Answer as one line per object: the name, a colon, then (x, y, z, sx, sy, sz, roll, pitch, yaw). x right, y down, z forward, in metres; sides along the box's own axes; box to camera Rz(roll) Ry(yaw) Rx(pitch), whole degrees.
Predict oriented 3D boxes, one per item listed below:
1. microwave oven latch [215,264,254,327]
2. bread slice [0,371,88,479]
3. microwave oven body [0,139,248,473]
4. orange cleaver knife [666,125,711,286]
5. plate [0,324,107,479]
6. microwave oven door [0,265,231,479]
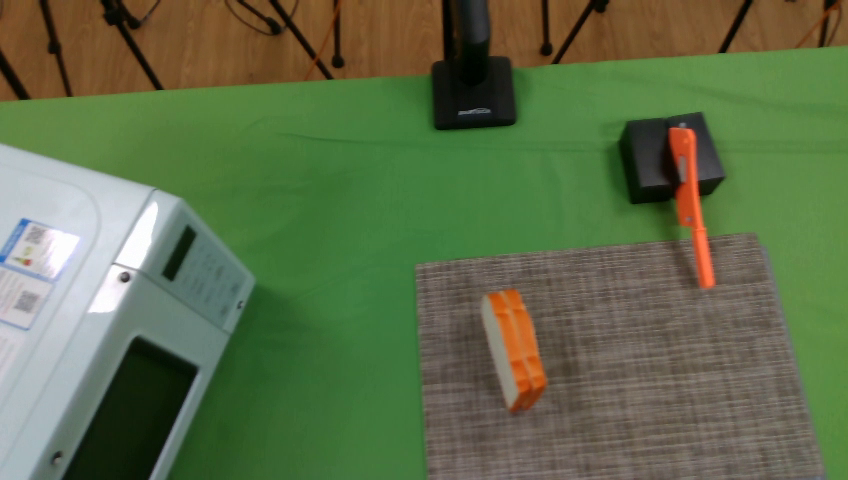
microwave oven latch: (-0.240, 0.067, 0.757, 0.030, 0.030, 0.079, 18, 71, 9)
bread slice: (-0.446, 0.222, 0.661, 0.134, 0.018, 0.106, -27, 69, -17)
microwave oven body: (-0.441, 0.147, 0.629, 0.325, 0.262, 0.439, 16, 71, 8)
orange cleaver knife: (0.334, -0.047, 0.773, 0.012, 0.077, 0.211, -9, 89, 2)
plate: (-0.452, 0.196, 0.667, 0.208, 0.039, 0.206, 1, 67, -1)
microwave oven door: (-0.315, 0.221, 0.589, 0.039, 0.245, 0.354, 16, 70, 9)
